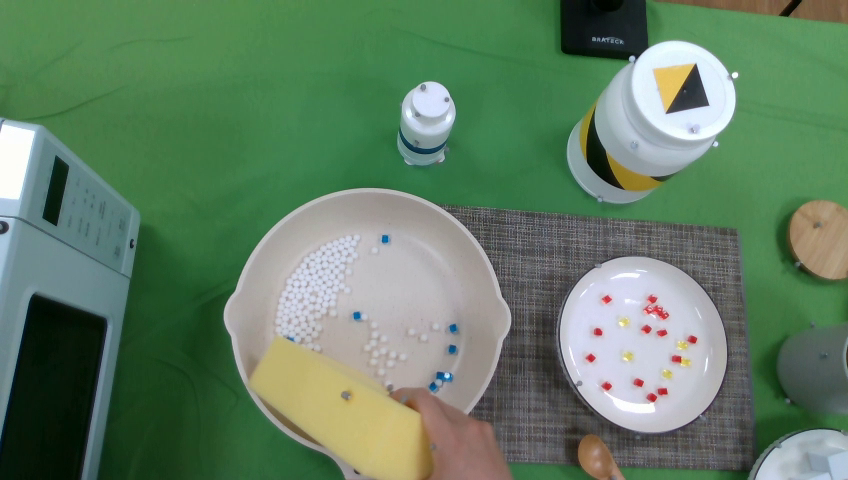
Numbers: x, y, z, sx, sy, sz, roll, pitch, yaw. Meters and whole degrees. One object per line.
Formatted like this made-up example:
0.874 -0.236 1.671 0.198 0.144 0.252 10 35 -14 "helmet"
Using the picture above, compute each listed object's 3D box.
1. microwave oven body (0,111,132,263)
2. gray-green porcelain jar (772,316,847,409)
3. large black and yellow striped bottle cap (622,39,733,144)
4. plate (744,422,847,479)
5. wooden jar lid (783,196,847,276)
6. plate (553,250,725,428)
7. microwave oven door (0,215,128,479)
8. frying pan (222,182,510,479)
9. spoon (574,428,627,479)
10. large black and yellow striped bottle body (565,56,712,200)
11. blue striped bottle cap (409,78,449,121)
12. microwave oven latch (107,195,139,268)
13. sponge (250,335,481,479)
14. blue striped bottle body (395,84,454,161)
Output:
-0.484 0.126 0.520 0.327 0.261 0.439 5 77 -6 "microwave oven body"
0.486 0.144 0.706 0.106 0.127 0.105 2 76 -6 "gray-green porcelain jar"
0.265 -0.156 0.633 0.115 0.019 0.114 2 75 -6 "large black and yellow striped bottle cap"
0.466 0.319 0.709 0.208 0.039 0.206 2 76 -6 "plate"
0.525 -0.005 0.801 0.108 0.021 0.108 1 78 -6 "wooden jar lid"
0.254 0.116 0.727 0.209 0.038 0.208 1 77 -6 "plate"
-0.342 0.178 0.520 0.039 0.244 0.354 4 76 -5 "microwave oven door"
-0.063 0.179 0.641 0.307 0.103 0.484 3 68 -4 "frying pan"
0.241 0.291 0.693 0.193 0.022 0.041 45 58 3 "spoon"
0.256 -0.135 0.716 0.131 0.184 0.130 2 76 -6 "large black and yellow striped bottle body"
0.005 -0.156 0.669 0.044 0.021 0.044 2 73 -5 "blue striped bottle cap"
-0.337 -0.010 0.670 0.030 0.029 0.079 7 76 -5 "microwave oven latch"
-0.063 0.163 0.584 0.119 0.205 0.060 35 74 -41 "sponge"
0.000 -0.144 0.719 0.063 0.121 0.063 2 76 -6 "blue striped bottle body"
